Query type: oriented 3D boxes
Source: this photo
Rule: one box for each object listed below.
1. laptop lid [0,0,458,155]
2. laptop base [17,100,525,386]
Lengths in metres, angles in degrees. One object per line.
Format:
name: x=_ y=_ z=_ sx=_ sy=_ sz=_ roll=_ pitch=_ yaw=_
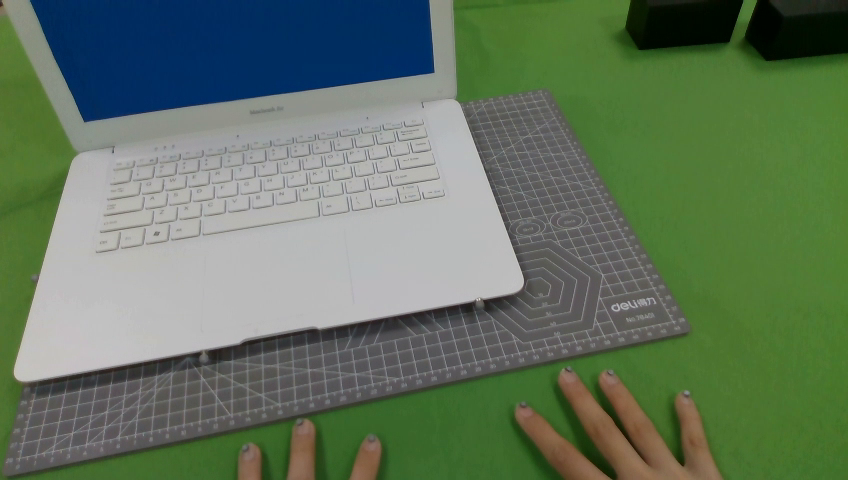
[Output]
laptop lid: x=-0.149 y=-0.193 z=0.496 sx=0.357 sy=0.244 sz=0.013 roll=-11 pitch=38 yaw=-5
laptop base: x=-0.119 y=-0.014 z=0.492 sx=0.355 sy=0.023 sz=0.233 roll=-10 pitch=52 yaw=-6
